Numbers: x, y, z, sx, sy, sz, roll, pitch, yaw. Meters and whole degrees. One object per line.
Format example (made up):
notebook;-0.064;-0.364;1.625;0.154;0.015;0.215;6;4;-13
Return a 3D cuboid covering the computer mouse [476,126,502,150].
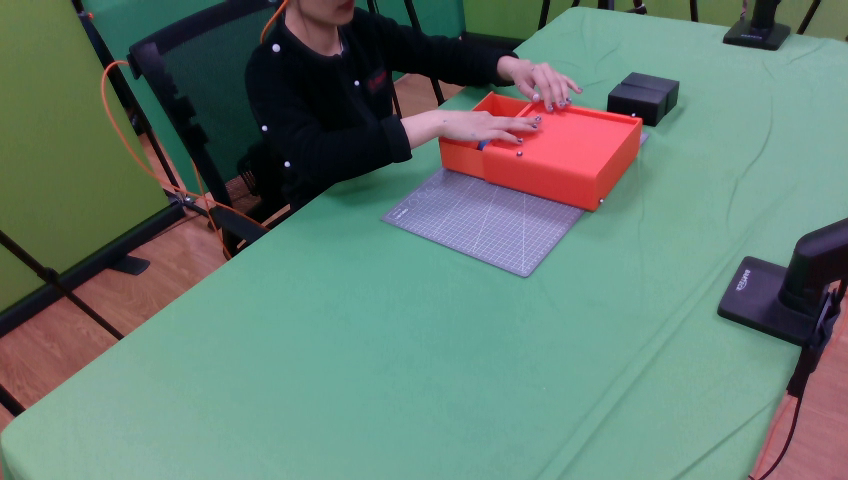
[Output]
computer mouse;0.153;-0.192;1.150;0.062;0.041;0.117;20;42;36

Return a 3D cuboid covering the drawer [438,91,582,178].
drawer;0.166;-0.188;1.123;0.210;0.073;0.195;21;48;31

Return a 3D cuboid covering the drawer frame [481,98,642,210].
drawer frame;0.244;-0.160;1.073;0.212;0.083;0.202;20;47;29
